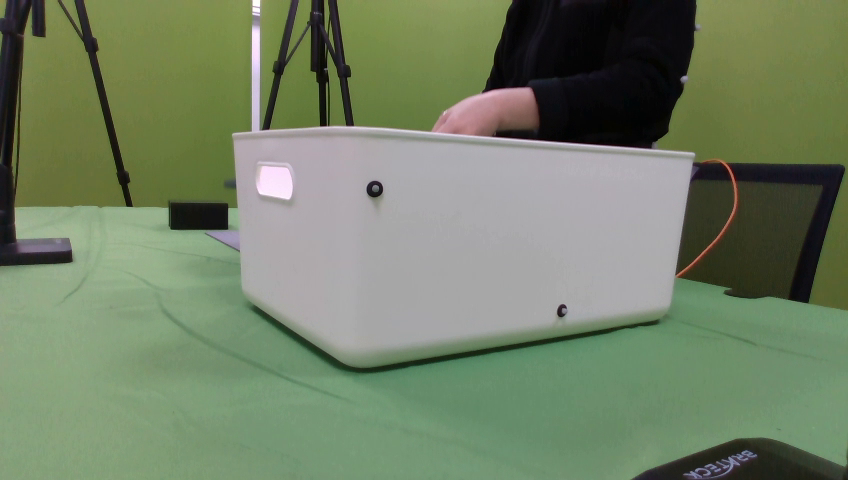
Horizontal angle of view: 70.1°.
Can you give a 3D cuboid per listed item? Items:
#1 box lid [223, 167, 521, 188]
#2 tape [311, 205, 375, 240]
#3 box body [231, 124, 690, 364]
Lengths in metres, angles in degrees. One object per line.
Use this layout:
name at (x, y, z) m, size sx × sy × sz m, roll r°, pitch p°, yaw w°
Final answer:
box lid at (-0.077, -0.087, 0.861) m, size 0.373 × 0.015 × 0.262 m, roll -4°, pitch 4°, yaw -31°
tape at (-0.145, -0.034, 1.097) m, size 0.117 × 0.052 × 0.117 m, roll 3°, pitch 8°, yaw 0°
box body at (0.031, -0.013, 0.563) m, size 0.366 × 0.160 × 0.253 m, roll -3°, pitch 8°, yaw -33°
